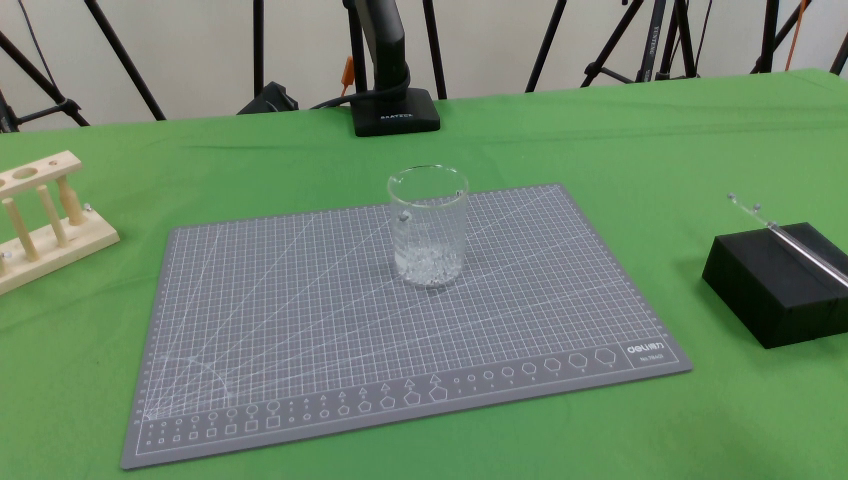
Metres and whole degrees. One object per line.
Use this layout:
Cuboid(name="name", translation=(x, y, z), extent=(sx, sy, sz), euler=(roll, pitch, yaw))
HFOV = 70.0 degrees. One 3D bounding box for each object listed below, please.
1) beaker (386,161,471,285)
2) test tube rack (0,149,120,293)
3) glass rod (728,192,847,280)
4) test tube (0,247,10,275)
Cuboid(name="beaker", translation=(0.001, -0.014, 0.576), extent=(0.083, 0.101, 0.074), euler=(26, 45, 31))
Cuboid(name="test tube rack", translation=(-0.430, 0.005, 0.568), extent=(0.066, 0.086, 0.242), euler=(31, 47, 33))
Cuboid(name="glass rod", translation=(0.346, 0.008, 0.542), extent=(0.008, 0.008, 0.197), euler=(-14, 40, -16))
Cuboid(name="test tube", translation=(-0.405, -0.030, 0.538), extent=(0.017, 0.151, 0.017), euler=(1, 37, -1))
